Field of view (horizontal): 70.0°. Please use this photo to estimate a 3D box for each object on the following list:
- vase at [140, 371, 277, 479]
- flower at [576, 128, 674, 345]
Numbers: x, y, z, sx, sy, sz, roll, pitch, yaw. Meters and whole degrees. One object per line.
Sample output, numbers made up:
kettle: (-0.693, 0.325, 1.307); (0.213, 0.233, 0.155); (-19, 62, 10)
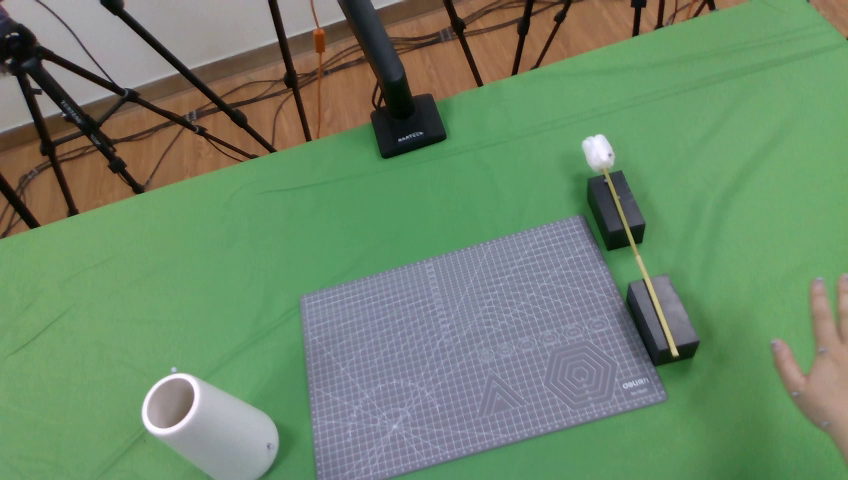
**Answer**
vase: (-0.253, 0.224, 0.731); (0.098, 0.202, 0.097); (-5, 56, 8)
flower: (0.271, -0.019, 0.819); (0.044, 0.038, 0.358); (7, 51, -19)
